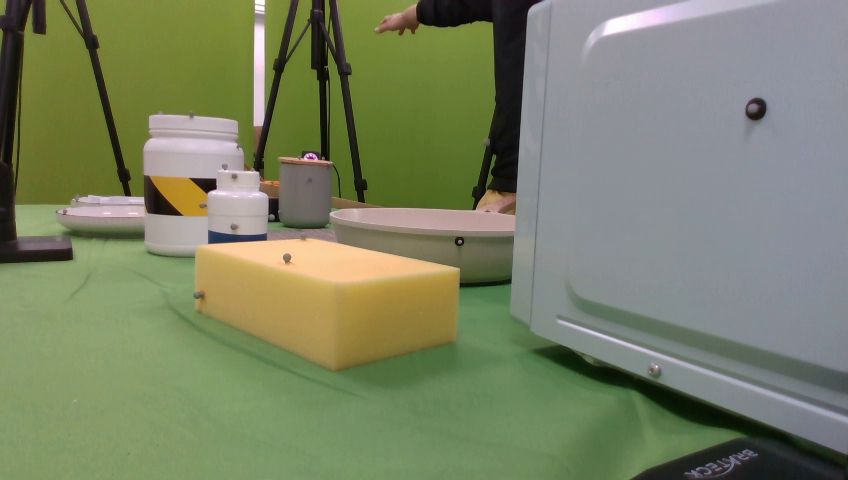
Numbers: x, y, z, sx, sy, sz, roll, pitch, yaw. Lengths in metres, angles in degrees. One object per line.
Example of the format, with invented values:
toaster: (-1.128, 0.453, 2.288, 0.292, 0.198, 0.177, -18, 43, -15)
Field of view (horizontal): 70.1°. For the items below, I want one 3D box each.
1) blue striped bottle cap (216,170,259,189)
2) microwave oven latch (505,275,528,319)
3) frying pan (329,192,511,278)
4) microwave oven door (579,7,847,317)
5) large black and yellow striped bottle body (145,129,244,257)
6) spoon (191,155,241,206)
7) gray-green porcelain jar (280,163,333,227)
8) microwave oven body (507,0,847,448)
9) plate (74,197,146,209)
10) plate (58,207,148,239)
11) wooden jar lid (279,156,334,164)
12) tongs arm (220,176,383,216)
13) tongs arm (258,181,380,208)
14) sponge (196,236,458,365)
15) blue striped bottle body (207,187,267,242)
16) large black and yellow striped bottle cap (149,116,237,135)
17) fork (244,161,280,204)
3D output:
blue striped bottle cap: (-0.201, -0.066, 0.654, 0.044, 0.020, 0.044, 0, 5, 0)
microwave oven latch: (0.100, 0.042, 0.471, 0.079, 0.029, 0.030, -1, 7, -29)
frying pan: (0.071, -0.030, 0.884, 0.305, 0.102, 0.490, 7, 17, 27)
microwave oven door: (0.294, -0.067, 0.570, 0.358, 0.243, 0.039, -3, 9, -31)
large black and yellow striped bottle body: (-0.320, -0.075, 0.851, 0.131, 0.184, 0.130, 2, 8, 0)
spoon: (-0.489, -0.136, 1.418, 0.041, 0.021, 0.194, 2, -35, 19)
gray-green porcelain jar: (-0.238, -0.092, 1.221, 0.106, 0.126, 0.106, 1, 7, 0)
microwave oven body: (0.331, -0.042, 0.425, 0.444, 0.260, 0.324, -2, 8, -31)
plate: (-0.596, -0.062, 1.238, 0.208, 0.039, 0.207, 2, 8, 0)
plate: (-0.496, -0.030, 1.022, 0.209, 0.038, 0.209, 2, 8, 0)
wooden jar lid: (-0.237, -0.154, 1.213, 0.108, 0.020, 0.108, 6, 9, -1)
tongs arm: (-0.286, -0.104, 1.445, 0.389, 0.027, 0.028, 10, -4, -23)
tongs arm: (-0.242, -0.095, 1.374, 0.387, 0.026, 0.050, 9, 0, -37)
sponge: (-0.087, 0.039, 0.500, 0.206, 0.061, 0.119, 8, 10, 44)
blue striped bottle body: (-0.204, -0.016, 0.661, 0.063, 0.120, 0.063, 2, 7, 0)
large black and yellow striped bottle cap: (-0.319, -0.158, 0.841, 0.115, 0.019, 0.115, 3, 6, 0)
fork: (-0.399, -0.144, 1.489, 0.028, 0.018, 0.208, 23, -23, 47)
